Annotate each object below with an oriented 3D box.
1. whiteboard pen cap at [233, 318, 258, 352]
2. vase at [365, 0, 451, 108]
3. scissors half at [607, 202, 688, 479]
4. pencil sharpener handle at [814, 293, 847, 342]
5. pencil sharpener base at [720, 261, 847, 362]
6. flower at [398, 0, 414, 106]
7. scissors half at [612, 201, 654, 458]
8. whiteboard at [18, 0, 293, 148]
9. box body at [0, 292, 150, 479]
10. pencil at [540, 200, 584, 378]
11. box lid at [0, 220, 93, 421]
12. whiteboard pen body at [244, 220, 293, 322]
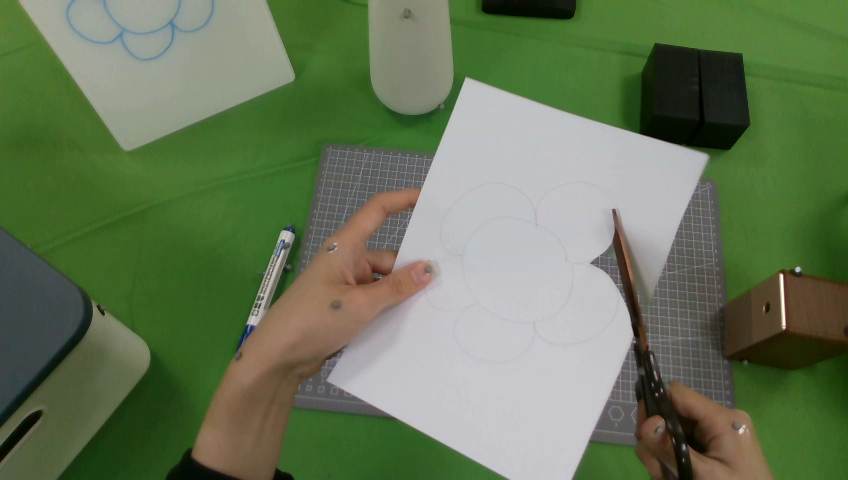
[{"bbox_3d":[-0.176,0.094,0.603,0.018,0.018,0.033,12,63,5],"label":"whiteboard pen cap"},{"bbox_3d":[-0.019,-0.232,0.645,0.098,0.201,0.097,0,66,1],"label":"vase"},{"bbox_3d":[0.130,0.062,0.358,0.013,0.040,0.175,-13,87,3],"label":"scissors half"},{"bbox_3d":[0.391,0.076,0.556,0.030,0.068,0.035,10,61,1],"label":"pencil sharpener handle"},{"bbox_3d":[0.340,0.070,0.569,0.077,0.107,0.061,10,67,1],"label":"pencil sharpener base"},{"bbox_3d":[-0.025,-0.277,0.574,0.044,0.365,0.038,-1,49,3],"label":"flower"},{"bbox_3d":[0.132,0.059,0.379,0.013,0.040,0.176,-12,109,8],"label":"scissors half"},{"bbox_3d":[-0.308,-0.295,0.646,0.217,0.308,0.142,-27,50,-10],"label":"whiteboard"},{"bbox_3d":[-0.468,0.081,0.532,0.362,0.161,0.253,31,71,12],"label":"box body"},{"bbox_3d":[0.144,0.047,0.630,0.012,0.012,0.192,-7,69,-3],"label":"pencil"},{"bbox_3d":[-0.470,0.051,0.464,0.370,0.015,0.262,31,70,12],"label":"box lid"},{"bbox_3d":[-0.164,0.041,0.627,0.017,0.017,0.140,12,66,5],"label":"whiteboard pen body"}]
